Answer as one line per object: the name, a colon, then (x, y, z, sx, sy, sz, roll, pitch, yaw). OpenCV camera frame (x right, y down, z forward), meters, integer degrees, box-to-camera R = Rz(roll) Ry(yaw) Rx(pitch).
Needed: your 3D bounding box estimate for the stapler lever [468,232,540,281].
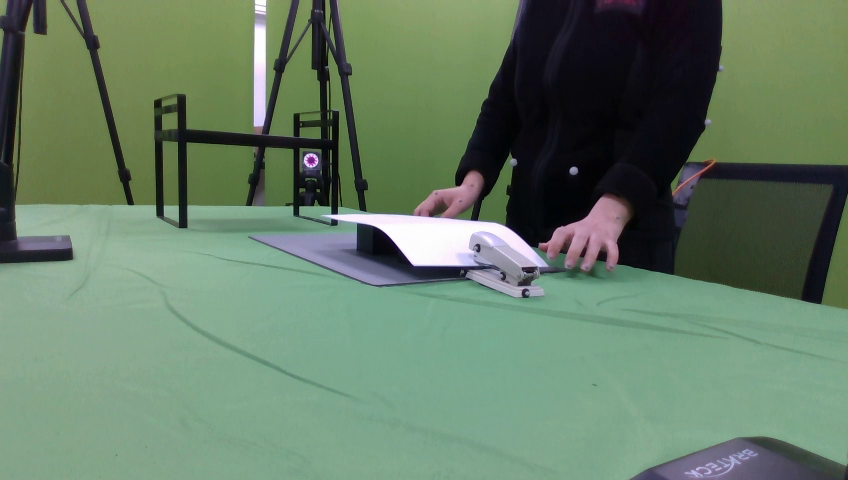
stapler lever: (0.090, 0.018, 0.701, 0.027, 0.040, 0.117, -2, 11, -27)

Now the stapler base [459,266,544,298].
stapler base: (0.087, 0.042, 0.705, 0.041, 0.024, 0.130, -2, 11, -27)
